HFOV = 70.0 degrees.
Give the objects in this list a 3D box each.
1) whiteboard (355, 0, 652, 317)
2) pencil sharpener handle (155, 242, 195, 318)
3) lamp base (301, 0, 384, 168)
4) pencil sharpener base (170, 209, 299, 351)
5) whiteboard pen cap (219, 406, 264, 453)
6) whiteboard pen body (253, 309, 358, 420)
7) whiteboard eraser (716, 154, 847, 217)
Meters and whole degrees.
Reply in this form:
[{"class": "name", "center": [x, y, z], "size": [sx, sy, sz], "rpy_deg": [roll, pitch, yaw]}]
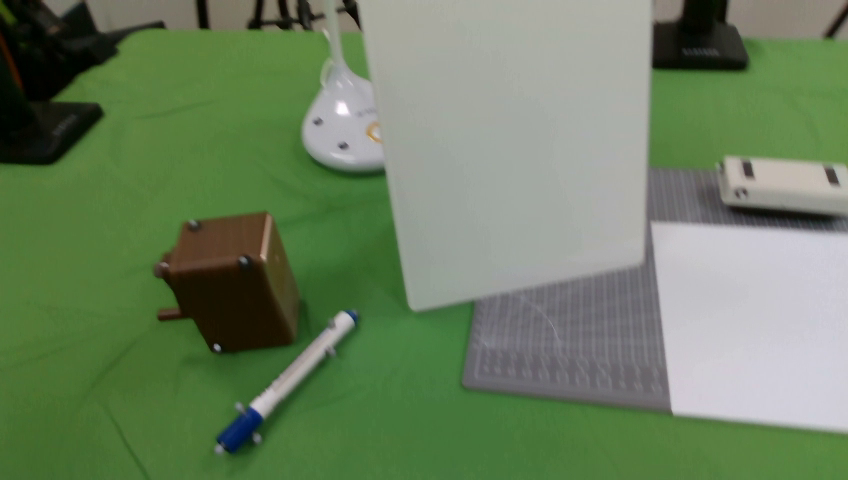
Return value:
[{"class": "whiteboard", "center": [0.063, -0.118, 0.530], "size": [0.217, 0.308, 0.142], "rpy_deg": [-11, 25, -4]}, {"class": "pencil sharpener handle", "center": [-0.203, 0.035, 0.482], "size": [0.030, 0.068, 0.035], "rpy_deg": [-7, 32, -1]}, {"class": "lamp base", "center": [-0.080, -0.199, 0.675], "size": [0.160, 0.182, 0.177], "rpy_deg": [-31, 47, -24]}, {"class": "pencil sharpener base", "center": [-0.151, 0.035, 0.495], "size": [0.077, 0.108, 0.060], "rpy_deg": [-7, 45, -1]}, {"class": "whiteboard pen cap", "center": [-0.133, 0.138, 0.446], "size": [0.018, 0.018, 0.033], "rpy_deg": [23, 47, 26]}, {"class": "whiteboard pen body", "center": [-0.100, 0.105, 0.482], "size": [0.017, 0.017, 0.140], "rpy_deg": [22, 49, 26]}, {"class": "whiteboard eraser", "center": [0.342, -0.051, 0.579], "size": [0.112, 0.042, 0.055], "rpy_deg": [7, 47, 12]}]
